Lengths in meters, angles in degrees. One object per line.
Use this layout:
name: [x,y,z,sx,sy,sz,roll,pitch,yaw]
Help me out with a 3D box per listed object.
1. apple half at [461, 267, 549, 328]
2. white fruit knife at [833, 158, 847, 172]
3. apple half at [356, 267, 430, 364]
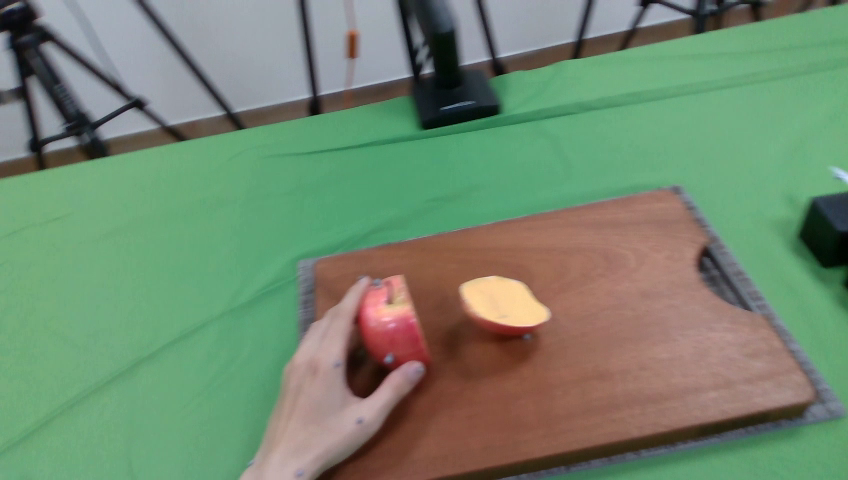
apple half: [0.067,0.058,0.545,0.081,0.033,0.080,10,30,-5]
white fruit knife: [0.440,-0.017,0.540,0.027,0.016,0.205,3,38,-19]
apple half: [-0.030,0.071,0.527,0.053,0.075,0.080,-20,47,-3]
